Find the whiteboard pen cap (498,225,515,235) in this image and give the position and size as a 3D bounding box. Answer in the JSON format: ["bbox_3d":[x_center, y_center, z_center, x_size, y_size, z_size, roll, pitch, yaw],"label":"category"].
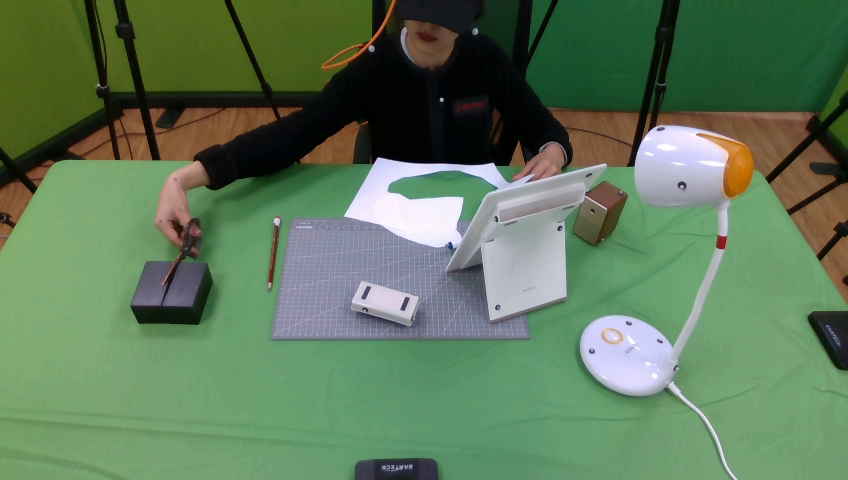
[{"bbox_3d":[0.166,-0.019,1.223,0.033,0.018,0.018,-14,49,-18],"label":"whiteboard pen cap"}]

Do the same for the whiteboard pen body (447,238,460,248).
[{"bbox_3d":[0.112,-0.005,1.204,0.141,0.017,0.017,-14,49,-18],"label":"whiteboard pen body"}]

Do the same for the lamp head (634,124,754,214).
[{"bbox_3d":[0.351,-0.089,0.775,0.112,0.113,0.122,-30,30,-28],"label":"lamp head"}]

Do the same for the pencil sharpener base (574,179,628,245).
[{"bbox_3d":[0.355,-0.057,1.217,0.076,0.107,0.061,-33,56,-31],"label":"pencil sharpener base"}]

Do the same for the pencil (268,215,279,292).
[{"bbox_3d":[-0.290,0.023,1.164,0.012,0.012,0.192,-2,48,-6],"label":"pencil"}]

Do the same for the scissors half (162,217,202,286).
[{"bbox_3d":[-0.434,0.018,1.083,0.013,0.040,0.174,7,44,0],"label":"scissors half"}]

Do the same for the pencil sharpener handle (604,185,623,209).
[{"bbox_3d":[0.390,-0.091,1.235,0.030,0.068,0.036,-33,69,-31],"label":"pencil sharpener handle"}]

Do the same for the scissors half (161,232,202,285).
[{"bbox_3d":[-0.438,0.035,1.095,0.013,0.040,0.174,12,26,-3],"label":"scissors half"}]

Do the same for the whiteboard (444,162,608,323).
[{"bbox_3d":[0.186,0.025,1.029,0.217,0.306,0.143,-14,68,-18],"label":"whiteboard"}]

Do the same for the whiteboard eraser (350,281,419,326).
[{"bbox_3d":[-0.069,0.113,1.065,0.112,0.042,0.055,14,46,9],"label":"whiteboard eraser"}]

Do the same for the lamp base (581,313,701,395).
[{"bbox_3d":[0.361,0.145,0.972,0.178,0.181,0.160,34,53,23],"label":"lamp base"}]
